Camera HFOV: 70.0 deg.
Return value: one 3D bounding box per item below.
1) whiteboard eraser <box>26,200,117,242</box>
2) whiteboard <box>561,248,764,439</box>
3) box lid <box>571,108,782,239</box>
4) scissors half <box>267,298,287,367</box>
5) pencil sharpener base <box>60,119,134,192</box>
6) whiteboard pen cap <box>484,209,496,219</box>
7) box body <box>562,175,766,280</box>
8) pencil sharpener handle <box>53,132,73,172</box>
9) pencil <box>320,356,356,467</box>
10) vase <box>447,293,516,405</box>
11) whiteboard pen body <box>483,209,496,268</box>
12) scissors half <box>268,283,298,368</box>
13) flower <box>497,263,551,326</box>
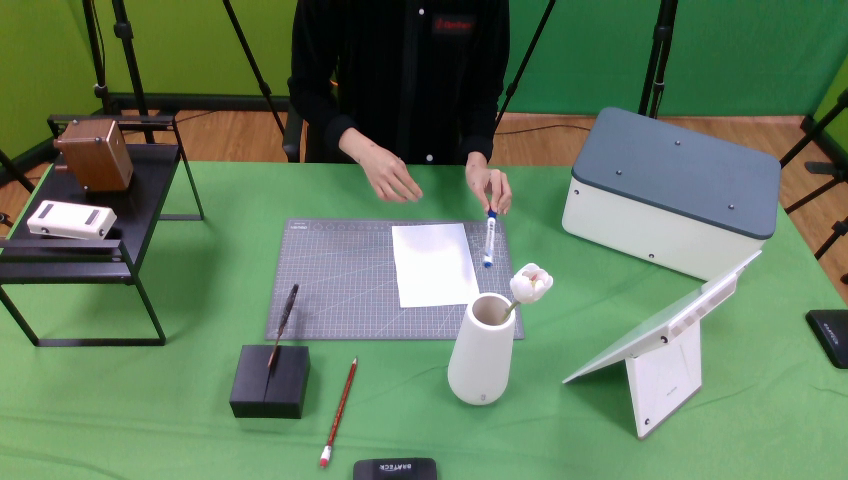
[{"bbox_3d":[-0.532,-0.026,0.919,0.113,0.042,0.055,7,45,3],"label":"whiteboard eraser"},{"bbox_3d":[0.386,0.176,0.905,0.217,0.306,0.143,-26,72,-27],"label":"whiteboard"},{"bbox_3d":[0.491,-0.139,1.168,0.370,0.015,0.262,21,49,15],"label":"box lid"},{"bbox_3d":[-0.239,0.150,0.997,0.013,0.040,0.174,24,24,-14],"label":"scissors half"},{"bbox_3d":[-0.528,-0.135,0.979,0.077,0.107,0.061,-4,47,-7],"label":"pencil sharpener base"},{"bbox_3d":[0.129,-0.048,1.173,0.018,0.018,0.033,-5,20,-9],"label":"whiteboard pen cap"},{"bbox_3d":[0.486,-0.088,1.222,0.363,0.161,0.253,20,48,15],"label":"box body"},{"bbox_3d":[-0.578,-0.138,0.961,0.031,0.068,0.036,-4,34,-7],"label":"pencil sharpener handle"},{"bbox_3d":[-0.130,0.261,0.946,0.012,0.012,0.193,10,45,5],"label":"pencil"},{"bbox_3d":[0.091,0.169,0.921,0.098,0.201,0.097,3,47,-3],"label":"vase"},{"bbox_3d":[0.123,-0.006,1.133,0.017,0.017,0.140,8,51,3],"label":"whiteboard pen body"},{"bbox_3d":[-0.230,0.135,0.986,0.013,0.040,0.174,20,43,-11],"label":"scissors half"},{"bbox_3d":[0.103,0.121,0.853,0.044,0.363,0.038,-1,64,-9],"label":"flower"}]
